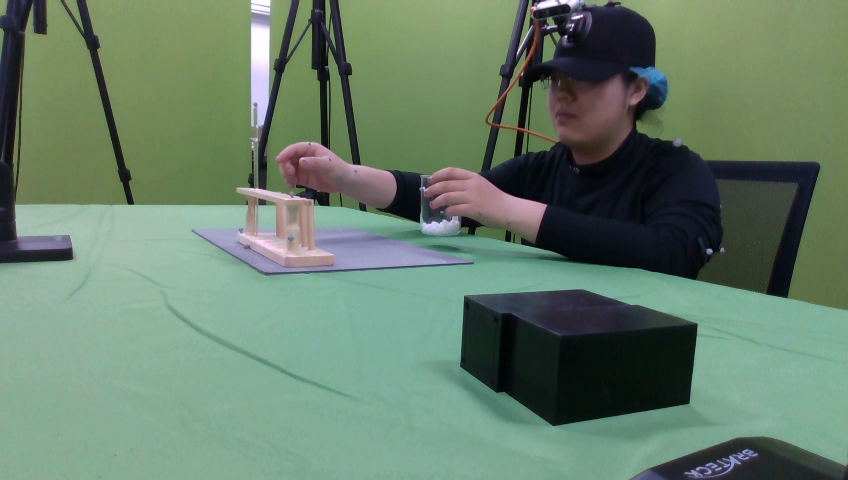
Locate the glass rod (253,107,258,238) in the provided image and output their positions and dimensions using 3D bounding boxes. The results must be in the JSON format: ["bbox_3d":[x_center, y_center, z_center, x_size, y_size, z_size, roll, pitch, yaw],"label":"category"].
[{"bbox_3d":[-0.254,-0.100,0.911,0.008,0.199,0.008,1,3,0],"label":"glass rod"}]

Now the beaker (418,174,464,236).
[{"bbox_3d":[0.031,-0.059,1.011,0.083,0.100,0.074,7,10,40],"label":"beaker"}]

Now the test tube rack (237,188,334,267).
[{"bbox_3d":[-0.203,-0.024,0.854,0.067,0.085,0.241,-2,9,-30],"label":"test tube rack"}]
